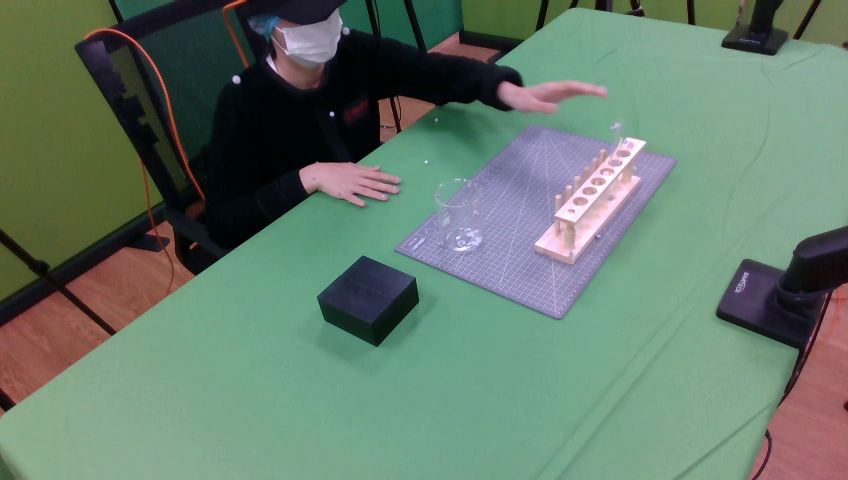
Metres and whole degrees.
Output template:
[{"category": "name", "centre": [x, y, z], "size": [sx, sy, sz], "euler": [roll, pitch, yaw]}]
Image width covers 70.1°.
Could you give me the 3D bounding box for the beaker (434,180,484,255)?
[{"category": "beaker", "centre": [0.058, -0.034, 0.944], "size": [0.073, 0.101, 0.084], "euler": [16, 44, 26]}]

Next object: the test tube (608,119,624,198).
[{"category": "test tube", "centre": [0.300, -0.124, 0.945], "size": [0.017, 0.151, 0.017], "euler": [-6, 44, 7]}]

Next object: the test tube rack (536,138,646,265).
[{"category": "test tube rack", "centre": [0.268, -0.071, 0.964], "size": [0.066, 0.085, 0.243], "euler": [23, 49, 32]}]
